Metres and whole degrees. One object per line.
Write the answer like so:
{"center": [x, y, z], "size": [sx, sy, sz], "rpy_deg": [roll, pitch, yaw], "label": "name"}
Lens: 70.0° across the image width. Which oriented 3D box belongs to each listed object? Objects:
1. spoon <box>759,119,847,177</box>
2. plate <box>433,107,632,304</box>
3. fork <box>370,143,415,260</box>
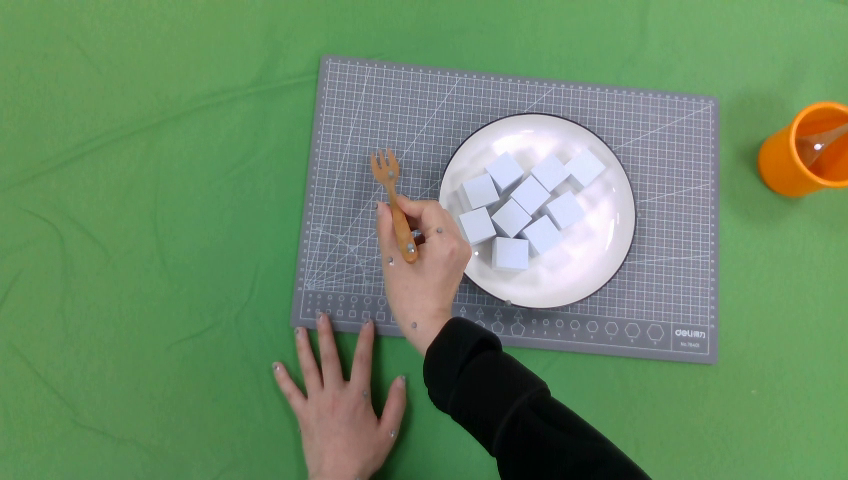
{"center": [0.443, -0.123, 0.620], "size": [0.022, 0.194, 0.041], "rpy_deg": [-12, 73, -49], "label": "spoon"}
{"center": [0.112, -0.035, 0.638], "size": [0.208, 0.039, 0.207], "rpy_deg": [1, 82, -4], "label": "plate"}
{"center": [-0.030, -0.042, 0.565], "size": [0.028, 0.205, 0.019], "rpy_deg": [-15, 123, -2], "label": "fork"}
